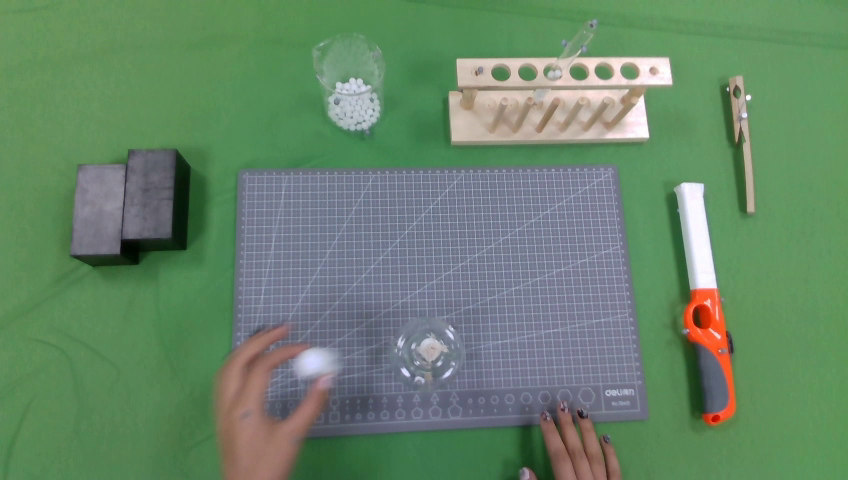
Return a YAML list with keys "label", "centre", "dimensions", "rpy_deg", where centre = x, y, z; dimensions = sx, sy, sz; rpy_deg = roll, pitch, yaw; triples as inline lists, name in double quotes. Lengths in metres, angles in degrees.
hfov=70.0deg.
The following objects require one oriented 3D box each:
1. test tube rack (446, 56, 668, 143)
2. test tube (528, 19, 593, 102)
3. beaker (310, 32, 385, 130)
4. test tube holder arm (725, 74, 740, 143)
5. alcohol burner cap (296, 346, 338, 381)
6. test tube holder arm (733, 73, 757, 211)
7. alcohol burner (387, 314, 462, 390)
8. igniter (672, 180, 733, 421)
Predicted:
- label: "test tube rack"
  centre: [0.151, -0.163, 0.708]
  dimensions: [0.243, 0.085, 0.066]
  rpy_deg: [-2, 76, -5]
- label: "test tube"
  centre: [0.145, -0.192, 0.663]
  dimensions: [0.017, 0.150, 0.017]
  rpy_deg: [3, 75, -11]
- label: "beaker"
  centre: [-0.086, -0.176, 0.685]
  dimensions: [0.084, 0.100, 0.074]
  rpy_deg: [26, 75, 3]
- label: "test tube holder arm"
  centre: [0.390, -0.166, 0.764]
  dimensions: [0.010, 0.015, 0.087]
  rpy_deg: [-8, 75, 30]
- label: "alcohol burner cap"
  centre: [-0.101, 0.113, 0.564]
  dimensions: [0.034, 0.048, 0.033]
  rpy_deg: [-2, 75, 7]
- label: "test tube holder arm"
  centre: [0.396, -0.123, 0.751]
  dimensions: [0.013, 0.015, 0.177]
  rpy_deg: [-10, 74, 29]
- label: "alcohol burner"
  centre: [0.002, 0.111, 0.611]
  dimensions: [0.078, 0.119, 0.077]
  rpy_deg: [1, 74, -5]
- label: "igniter"
  centre: [0.318, 0.064, 0.697]
  dimensions: [0.057, 0.025, 0.275]
  rpy_deg: [2, 76, -14]
